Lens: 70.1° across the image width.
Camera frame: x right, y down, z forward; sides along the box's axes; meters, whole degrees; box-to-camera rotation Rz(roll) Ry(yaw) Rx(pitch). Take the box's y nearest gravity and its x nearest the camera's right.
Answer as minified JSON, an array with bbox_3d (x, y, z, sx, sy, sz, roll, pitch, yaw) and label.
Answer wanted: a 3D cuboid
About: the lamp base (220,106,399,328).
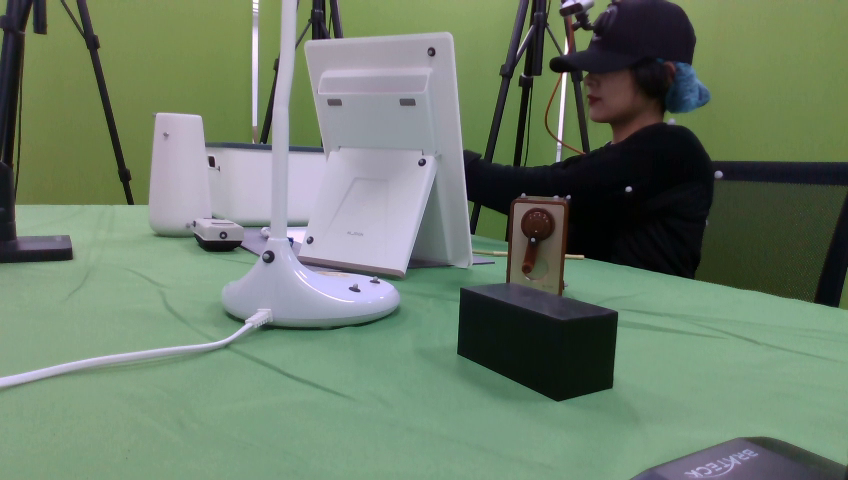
[{"bbox_3d":[-0.101,-0.023,0.531,0.160,0.180,0.179,4,10,10],"label":"lamp base"}]

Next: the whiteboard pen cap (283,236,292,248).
[{"bbox_3d":[-0.211,0.003,0.913,0.018,0.018,0.033,-2,6,-28],"label":"whiteboard pen cap"}]

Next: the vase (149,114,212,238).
[{"bbox_3d":[-0.405,-0.106,1.005,0.098,0.200,0.098,2,6,0],"label":"vase"}]

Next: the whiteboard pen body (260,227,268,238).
[{"bbox_3d":[-0.239,-0.005,0.964,0.017,0.017,0.140,-2,9,-28],"label":"whiteboard pen body"}]

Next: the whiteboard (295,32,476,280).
[{"bbox_3d":[-0.076,-0.084,0.747,0.216,0.305,0.144,7,28,29],"label":"whiteboard"}]

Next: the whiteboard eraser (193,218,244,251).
[{"bbox_3d":[-0.307,-0.009,0.900,0.056,0.042,0.112,-4,10,-28],"label":"whiteboard eraser"}]

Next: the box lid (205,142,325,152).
[{"bbox_3d":[-0.270,-0.196,1.310,0.373,0.015,0.262,-2,9,-30],"label":"box lid"}]

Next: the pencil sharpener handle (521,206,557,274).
[{"bbox_3d":[0.112,0.000,0.611,0.036,0.067,0.031,13,10,11],"label":"pencil sharpener handle"}]

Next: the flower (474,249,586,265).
[{"bbox_3d":[0.072,0.016,0.934,0.362,0.038,0.044,7,2,-2],"label":"flower"}]

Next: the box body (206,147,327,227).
[{"bbox_3d":[-0.276,-0.122,1.320,0.366,0.160,0.253,-2,9,-30],"label":"box body"}]

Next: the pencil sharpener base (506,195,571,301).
[{"bbox_3d":[0.126,0.007,0.662,0.061,0.107,0.077,4,8,13],"label":"pencil sharpener base"}]
